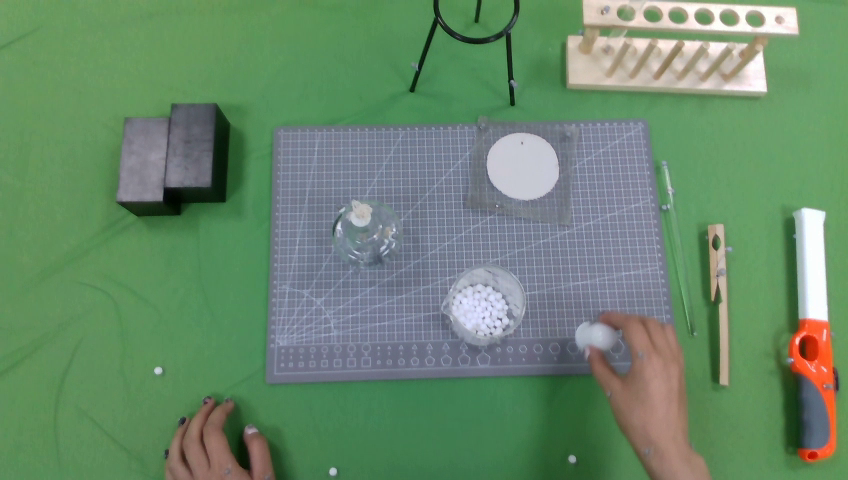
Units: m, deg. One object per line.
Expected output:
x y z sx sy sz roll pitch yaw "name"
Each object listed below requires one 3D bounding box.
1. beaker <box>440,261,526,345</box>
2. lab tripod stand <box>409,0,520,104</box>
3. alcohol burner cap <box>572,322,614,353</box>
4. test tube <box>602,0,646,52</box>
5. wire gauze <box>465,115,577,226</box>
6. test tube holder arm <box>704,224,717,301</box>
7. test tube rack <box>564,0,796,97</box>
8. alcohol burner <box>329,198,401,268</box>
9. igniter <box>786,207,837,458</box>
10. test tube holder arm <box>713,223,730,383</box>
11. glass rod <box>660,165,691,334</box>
0.057 0.071 0.628 0.084 0.101 0.073 -9 75 -2 "beaker"
0.050 -0.225 0.688 0.148 0.132 0.147 0 77 -1 "lab tripod stand"
0.177 0.100 0.627 0.034 0.048 0.033 2 79 -11 "alcohol burner cap"
0.229 -0.254 0.673 0.017 0.151 0.017 1 76 -3 "test tube"
0.116 -0.085 0.716 0.125 0.011 0.121 10 77 1 "wire gauze"
0.328 0.025 0.690 0.010 0.015 0.087 -7 73 33 "test tube holder arm"
0.297 -0.224 0.718 0.242 0.085 0.066 2 75 0 "test tube rack"
-0.064 -0.012 0.639 0.078 0.120 0.077 0 74 1 "alcohol burner"
0.425 0.097 0.668 0.057 0.025 0.275 9 76 -9 "igniter"
0.331 0.068 0.676 0.013 0.015 0.177 -7 73 33 "test tube holder arm"
0.289 0.008 0.698 0.008 0.008 0.198 -4 78 -2 "glass rod"
